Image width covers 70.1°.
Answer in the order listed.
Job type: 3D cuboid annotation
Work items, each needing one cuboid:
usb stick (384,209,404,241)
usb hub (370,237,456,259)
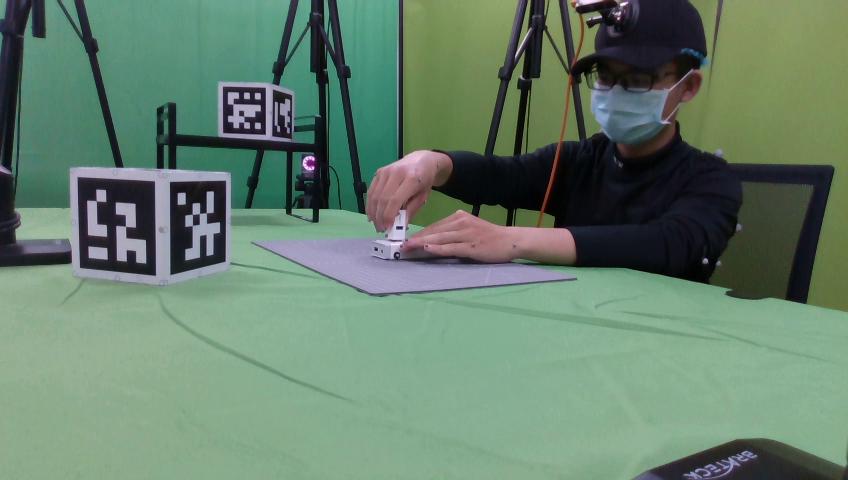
[{"bbox_3d":[-0.044,-0.016,0.893,0.021,0.059,0.027,0,6,-33],"label":"usb stick"},{"bbox_3d":[-0.015,0.012,0.909,0.126,0.025,0.049,-2,9,-32],"label":"usb hub"}]
